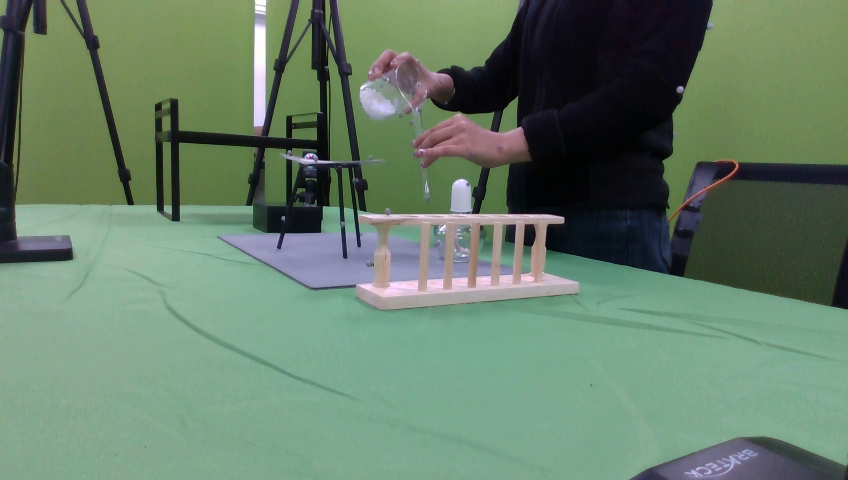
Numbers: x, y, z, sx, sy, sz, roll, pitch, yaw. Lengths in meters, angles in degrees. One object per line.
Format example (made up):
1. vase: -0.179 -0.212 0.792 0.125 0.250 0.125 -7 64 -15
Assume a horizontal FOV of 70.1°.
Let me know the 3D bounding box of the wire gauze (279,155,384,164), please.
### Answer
1. wire gauze: -0.134 -0.114 0.875 0.122 0.011 0.124 -1 8 -30

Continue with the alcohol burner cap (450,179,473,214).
1. alcohol burner cap: 0.053 -0.062 0.859 0.034 0.048 0.034 -1 14 0

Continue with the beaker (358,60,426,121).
1. beaker: -0.056 -0.247 1.024 0.100 0.084 0.074 -13 0 41

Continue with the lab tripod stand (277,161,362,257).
1. lab tripod stand: -0.142 -0.049 0.884 0.148 0.131 0.148 1 9 0

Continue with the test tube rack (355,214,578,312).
1. test tube rack: 0.053 0.018 0.640 0.243 0.085 0.066 -1 9 -29

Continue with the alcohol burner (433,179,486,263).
1. alcohol burner: 0.051 -0.028 0.862 0.078 0.119 0.078 1 6 0

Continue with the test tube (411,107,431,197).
1. test tube: -0.004 -0.143 0.986 0.017 0.150 0.017 -7 -6 0
